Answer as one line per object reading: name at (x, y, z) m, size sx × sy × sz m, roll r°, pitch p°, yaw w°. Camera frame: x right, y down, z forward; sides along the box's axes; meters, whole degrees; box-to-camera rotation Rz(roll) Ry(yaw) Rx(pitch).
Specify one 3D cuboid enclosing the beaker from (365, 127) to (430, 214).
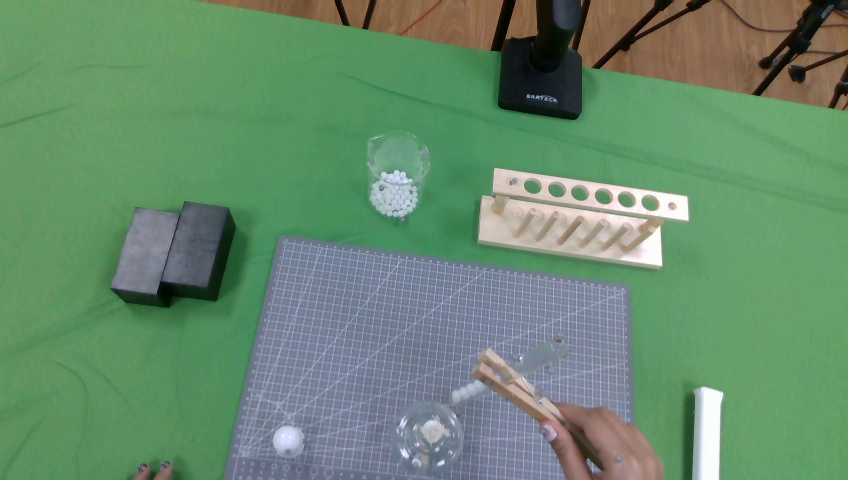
beaker at (-0.039, -0.083, 0.749) m, size 0.084 × 0.101 × 0.074 m, roll 34°, pitch 67°, yaw 8°

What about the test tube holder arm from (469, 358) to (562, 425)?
test tube holder arm at (0.075, 0.123, 0.489) m, size 0.088 × 0.015 × 0.010 m, roll 34°, pitch 55°, yaw -11°

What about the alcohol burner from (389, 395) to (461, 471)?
alcohol burner at (0.003, 0.197, 0.628) m, size 0.078 × 0.120 × 0.077 m, roll 3°, pitch 65°, yaw -7°

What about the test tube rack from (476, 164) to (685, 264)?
test tube rack at (0.194, -0.030, 0.765) m, size 0.243 × 0.085 × 0.066 m, roll 8°, pitch 67°, yaw -4°

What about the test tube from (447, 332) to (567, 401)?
test tube at (0.060, 0.105, 0.485) m, size 0.017 × 0.150 × 0.017 m, roll 15°, pitch 56°, yaw -24°

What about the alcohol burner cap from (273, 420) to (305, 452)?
alcohol burner cap at (-0.145, 0.207, 0.643) m, size 0.034 × 0.048 × 0.033 m, roll 3°, pitch 67°, yaw -7°

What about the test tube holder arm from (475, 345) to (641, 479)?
test tube holder arm at (0.112, 0.147, 0.499) m, size 0.179 × 0.015 × 0.013 m, roll 40°, pitch 55°, yaw -7°

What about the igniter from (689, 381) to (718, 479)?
igniter at (0.309, 0.296, 0.678) m, size 0.057 × 0.025 × 0.275 m, roll 18°, pitch 66°, yaw -11°
